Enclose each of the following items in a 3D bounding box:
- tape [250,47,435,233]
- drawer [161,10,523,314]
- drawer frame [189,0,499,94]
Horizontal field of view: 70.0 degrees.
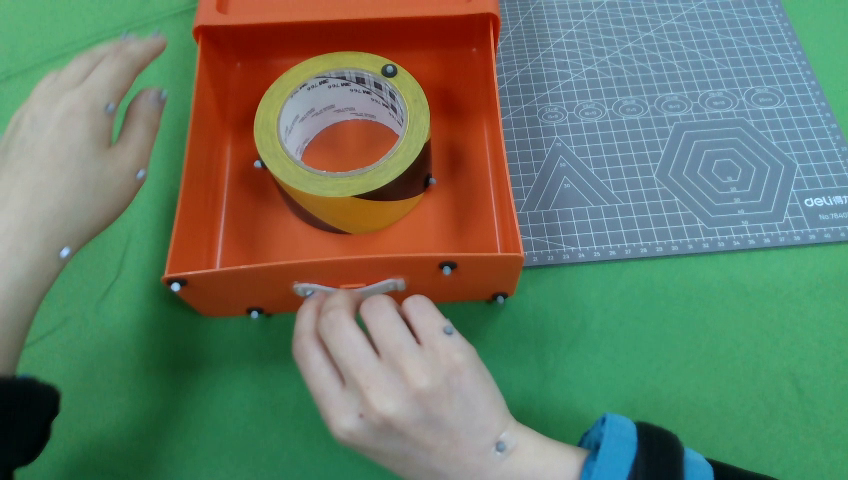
[{"bbox_3d":[-0.050,-0.066,0.399,0.117,0.053,0.116,-1,66,2],"label":"tape"},{"bbox_3d":[-0.048,-0.063,0.391,0.194,0.074,0.210,-4,64,1],"label":"drawer"},{"bbox_3d":[-0.054,-0.215,0.461,0.202,0.083,0.211,-3,63,1],"label":"drawer frame"}]
